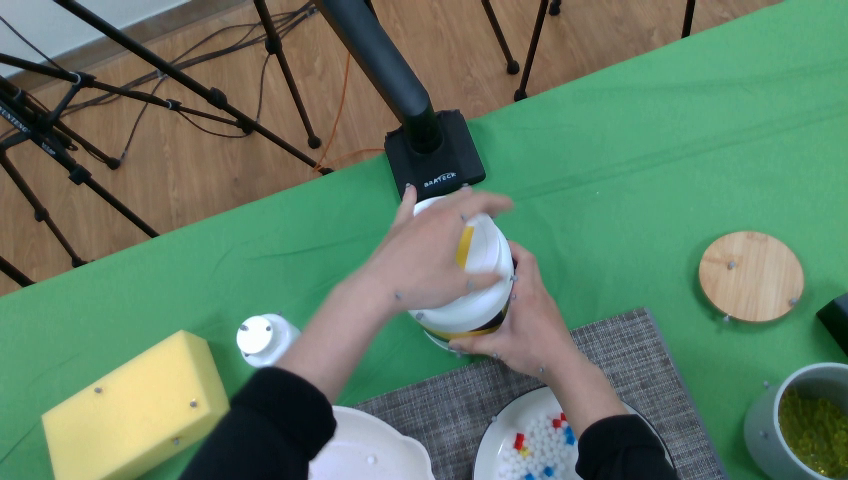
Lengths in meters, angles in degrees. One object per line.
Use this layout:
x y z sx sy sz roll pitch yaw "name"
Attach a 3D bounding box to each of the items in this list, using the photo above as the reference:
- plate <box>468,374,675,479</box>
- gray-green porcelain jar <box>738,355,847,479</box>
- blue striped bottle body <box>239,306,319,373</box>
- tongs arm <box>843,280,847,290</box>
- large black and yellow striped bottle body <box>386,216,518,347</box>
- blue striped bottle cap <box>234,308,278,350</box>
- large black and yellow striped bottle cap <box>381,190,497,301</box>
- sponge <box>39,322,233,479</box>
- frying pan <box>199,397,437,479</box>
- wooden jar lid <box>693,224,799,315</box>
0.151 0.247 0.636 0.209 0.038 0.207 -5 68 11 "plate"
0.365 0.173 0.573 0.105 0.127 0.105 -5 67 11 "gray-green porcelain jar"
-0.176 0.118 0.720 0.063 0.122 0.062 -4 67 11 "blue striped bottle body"
0.513 0.200 0.548 0.051 0.027 0.382 -24 75 0 "tongs arm"
0.033 0.037 0.672 0.130 0.185 0.130 -5 67 11 "large black and yellow striped bottle body"
-0.187 0.099 0.673 0.044 0.021 0.044 -6 65 13 "blue striped bottle cap"
0.015 0.004 0.596 0.115 0.019 0.114 -4 68 9 "large black and yellow striped bottle cap"
-0.359 0.210 0.757 0.207 0.061 0.117 -32 65 -2 "sponge"
-0.051 0.381 0.591 0.307 0.104 0.482 -41 57 -5 "frying pan"
0.364 0.034 0.689 0.108 0.021 0.107 -4 69 11 "wooden jar lid"
